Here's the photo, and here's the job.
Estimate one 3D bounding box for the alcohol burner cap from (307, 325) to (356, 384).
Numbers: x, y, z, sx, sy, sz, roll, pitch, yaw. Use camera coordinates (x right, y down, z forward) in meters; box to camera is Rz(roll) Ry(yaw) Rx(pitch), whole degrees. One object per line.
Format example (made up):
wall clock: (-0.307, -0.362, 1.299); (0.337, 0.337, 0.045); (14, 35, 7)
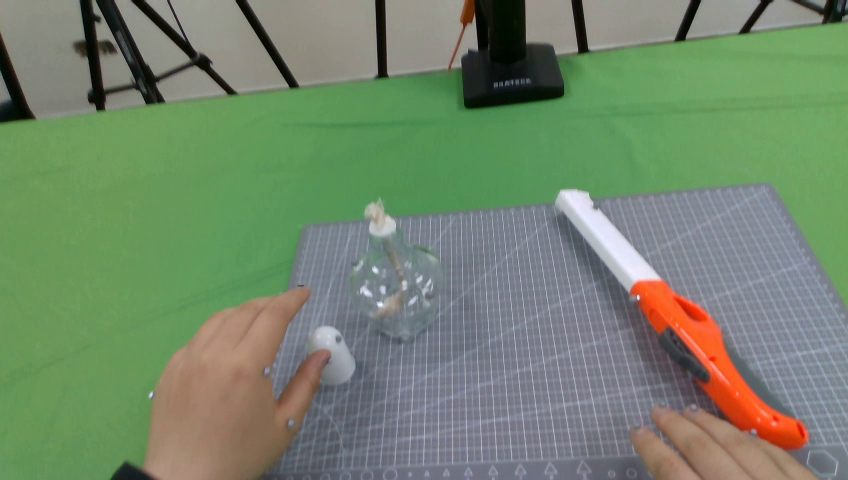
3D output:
alcohol burner cap: (-0.073, 0.085, 0.467); (0.034, 0.048, 0.033); (-5, 44, 5)

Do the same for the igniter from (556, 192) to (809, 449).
igniter: (0.180, 0.044, 0.467); (0.057, 0.025, 0.273); (0, 37, -22)

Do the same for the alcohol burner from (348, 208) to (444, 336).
alcohol burner: (-0.024, 0.020, 0.473); (0.078, 0.120, 0.077); (-4, 44, 5)
